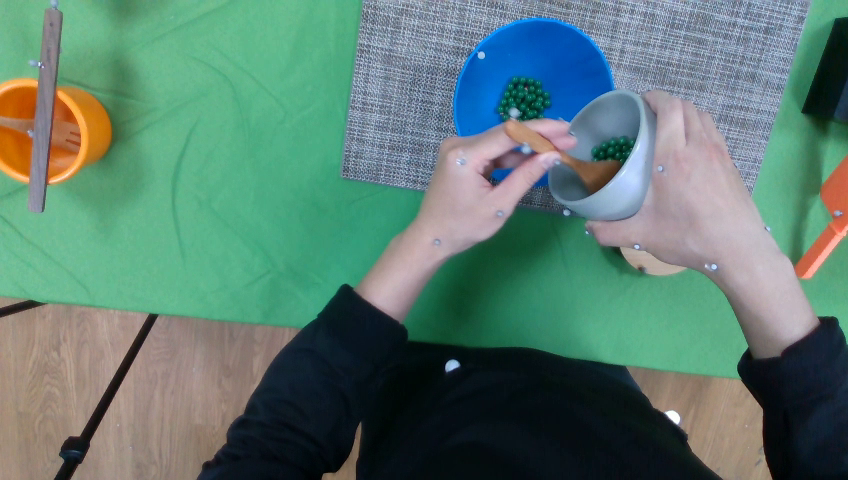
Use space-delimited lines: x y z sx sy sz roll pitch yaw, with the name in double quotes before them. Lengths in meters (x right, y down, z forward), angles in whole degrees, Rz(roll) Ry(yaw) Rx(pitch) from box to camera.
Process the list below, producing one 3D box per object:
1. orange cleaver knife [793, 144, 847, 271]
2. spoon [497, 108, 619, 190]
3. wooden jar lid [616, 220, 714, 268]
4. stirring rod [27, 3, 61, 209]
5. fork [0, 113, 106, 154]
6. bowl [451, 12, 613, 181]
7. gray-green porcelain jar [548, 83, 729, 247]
"orange cleaver knife" 0.452 -0.055 0.645 0.012 0.076 0.213 3 135 -9
"spoon" 0.111 -0.072 0.487 0.195 0.021 0.042 13 112 -46
"wooden jar lid" 0.263 -0.022 0.665 0.108 0.020 0.109 -1 112 -3
"stirring rod" -0.326 -0.111 0.518 0.014 0.006 0.176 12 106 -12
"fork" -0.378 -0.111 0.514 0.028 0.018 0.209 -52 148 17
"bowl" 0.096 -0.138 0.585 0.151 0.076 0.152 -2 107 -5
"gray-green porcelain jar" 0.189 -0.059 0.527 0.127 0.105 0.106 24 103 -26
